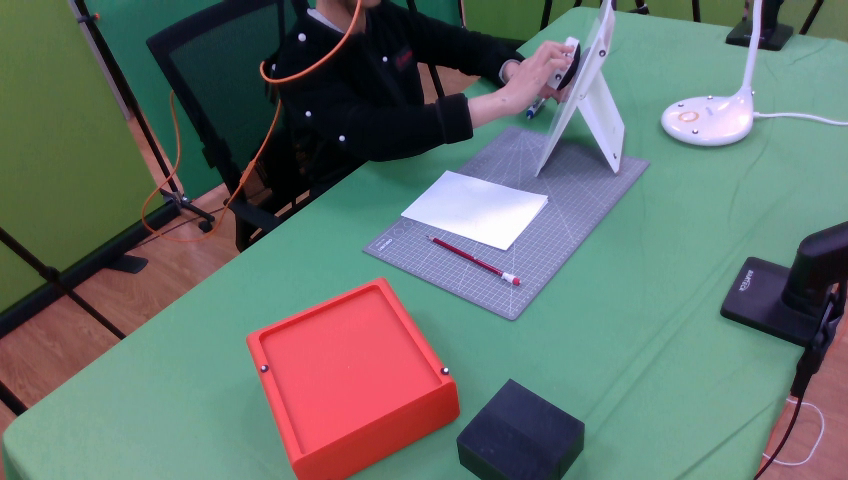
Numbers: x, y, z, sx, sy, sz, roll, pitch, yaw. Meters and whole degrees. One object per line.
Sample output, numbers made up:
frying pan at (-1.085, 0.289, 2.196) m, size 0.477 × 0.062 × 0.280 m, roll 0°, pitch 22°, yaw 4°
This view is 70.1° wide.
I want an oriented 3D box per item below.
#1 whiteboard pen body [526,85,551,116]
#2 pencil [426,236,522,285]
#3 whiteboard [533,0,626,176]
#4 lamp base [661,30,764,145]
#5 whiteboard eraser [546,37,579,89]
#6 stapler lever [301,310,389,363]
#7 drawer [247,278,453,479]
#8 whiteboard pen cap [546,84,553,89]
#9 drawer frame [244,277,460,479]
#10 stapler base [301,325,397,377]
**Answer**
whiteboard pen body at (0.251, -0.306, 1.298) m, size 0.017 × 0.017 × 0.141 m, roll 15°, pitch 47°, yaw 26°
pencil at (0.072, 0.028, 0.941) m, size 0.192 × 0.012 × 0.012 m, roll 26°, pitch 52°, yaw 37°
whiteboard at (0.323, -0.259, 1.051) m, size 0.144 × 0.306 × 0.217 m, roll 21°, pitch 44°, yaw 5°
lamp base at (0.535, -0.287, 1.096) m, size 0.179 × 0.181 × 0.159 m, roll -10°, pitch 40°, yaw -4°
whiteboard eraser at (0.254, -0.320, 1.095) m, size 0.042 × 0.055 × 0.112 m, roll 25°, pitch 43°, yaw -1°
stapler lever at (-0.104, 0.126, 0.798) m, size 0.118 × 0.040 × 0.026 m, roll -17°, pitch 42°, yaw -15°
drawer at (-0.096, 0.167, 0.758) m, size 0.195 × 0.073 × 0.210 m, roll -22°, pitch 43°, yaw -16°
whiteboard pen cap at (0.280, -0.344, 1.335) m, size 0.018 × 0.018 × 0.033 m, roll 15°, pitch 45°, yaw 26°
drawer frame at (-0.093, 0.167, 0.755) m, size 0.202 × 0.083 × 0.211 m, roll -23°, pitch 43°, yaw -17°
stapler base at (-0.102, 0.142, 0.815) m, size 0.131 × 0.024 × 0.041 m, roll -18°, pitch 42°, yaw -13°
